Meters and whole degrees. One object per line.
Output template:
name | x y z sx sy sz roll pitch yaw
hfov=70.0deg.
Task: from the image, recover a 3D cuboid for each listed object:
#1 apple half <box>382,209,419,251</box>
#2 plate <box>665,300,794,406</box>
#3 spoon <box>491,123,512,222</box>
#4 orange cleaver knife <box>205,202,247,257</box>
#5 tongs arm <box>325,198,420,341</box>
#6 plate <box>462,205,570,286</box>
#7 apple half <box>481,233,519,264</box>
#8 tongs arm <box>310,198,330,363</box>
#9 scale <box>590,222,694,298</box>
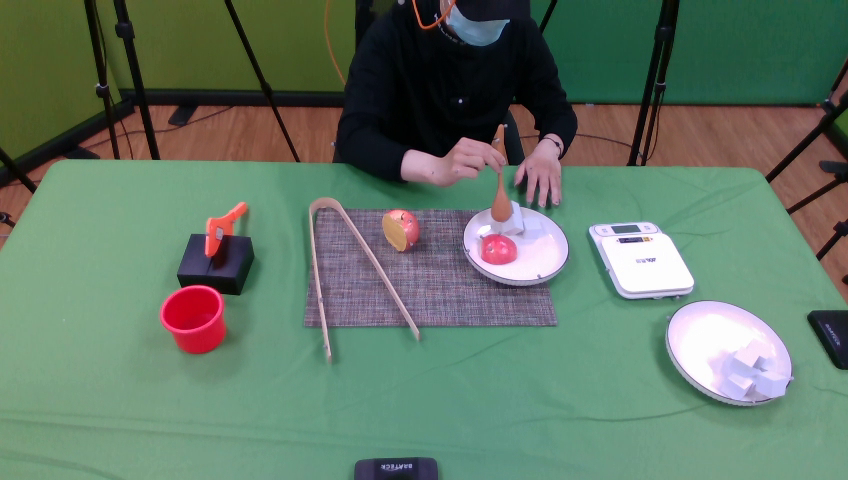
apple half | -0.039 -0.022 1.175 0.053 0.075 0.080 -27 50 -31
plate | 0.513 0.194 1.033 0.208 0.039 0.206 2 46 -2
spoon | 0.147 -0.126 1.162 0.041 0.194 0.021 -3 17 1
orange cleaver knife | -0.374 -0.023 1.151 0.012 0.077 0.210 4 16 1
tongs arm | -0.101 0.043 1.140 0.028 0.028 0.385 -22 51 -18
plate | 0.177 0.013 1.180 0.209 0.038 0.208 2 46 -2
apple half | 0.147 0.010 1.174 0.081 0.033 0.081 0 46 0
tongs arm | -0.180 0.058 1.117 0.051 0.026 0.382 -9 47 -11
scale | 0.424 0.031 1.189 0.149 0.032 0.199 -3 46 -7
